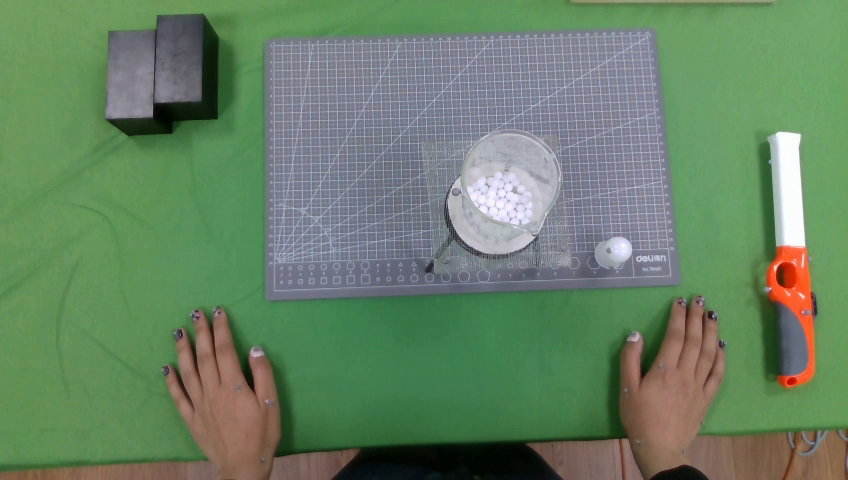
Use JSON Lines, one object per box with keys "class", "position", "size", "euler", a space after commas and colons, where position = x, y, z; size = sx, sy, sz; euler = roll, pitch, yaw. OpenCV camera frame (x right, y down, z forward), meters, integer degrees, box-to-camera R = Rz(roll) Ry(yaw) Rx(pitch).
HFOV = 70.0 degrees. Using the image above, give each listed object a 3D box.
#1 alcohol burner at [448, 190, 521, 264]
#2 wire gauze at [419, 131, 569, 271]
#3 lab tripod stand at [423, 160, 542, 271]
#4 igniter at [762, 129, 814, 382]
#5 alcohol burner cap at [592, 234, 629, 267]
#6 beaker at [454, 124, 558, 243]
{"class": "alcohol burner", "position": [0.062, -0.016, 0.610], "size": [0.078, 0.119, 0.077], "euler": [0, 79, -2]}
{"class": "wire gauze", "position": [0.061, -0.035, 0.537], "size": [0.125, 0.011, 0.121], "euler": [-4, 79, 1]}
{"class": "lab tripod stand", "position": [0.058, -0.022, 0.601], "size": [0.148, 0.132, 0.148], "euler": [0, 80, 1]}
{"class": "igniter", "position": [0.393, 0.014, 0.658], "size": [0.057, 0.025, 0.275], "euler": [4, 81, -10]}
{"class": "alcohol burner cap", "position": [0.201, 0.010, 0.645], "size": [0.034, 0.048, 0.033], "euler": [0, 80, 1]}
{"class": "beaker", "position": [0.063, -0.037, 0.488], "size": [0.074, 0.100, 0.083], "euler": [-25, 81, -4]}
